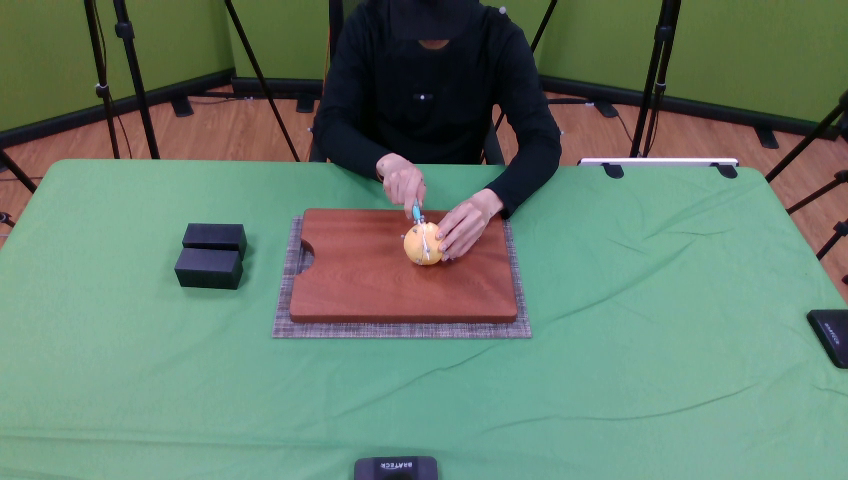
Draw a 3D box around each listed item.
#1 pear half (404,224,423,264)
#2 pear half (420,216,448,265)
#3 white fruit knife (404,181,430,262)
[{"bbox_3d":[-0.020,0.006,1.102,0.031,0.088,0.070,-11,54,-10],"label":"pear half"},{"bbox_3d":[0.016,-0.005,1.101,0.056,0.110,0.076,-9,53,-12],"label":"pear half"},{"bbox_3d":[-0.011,-0.038,1.105,0.016,0.027,0.206,-7,49,-11],"label":"white fruit knife"}]
